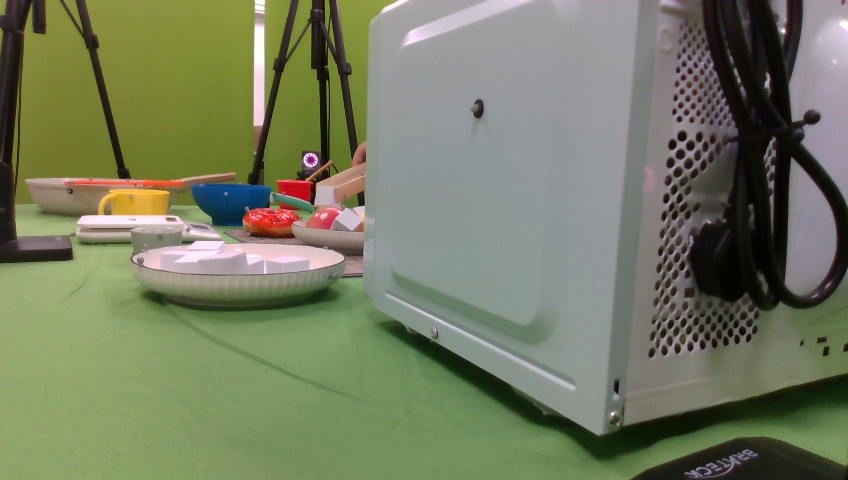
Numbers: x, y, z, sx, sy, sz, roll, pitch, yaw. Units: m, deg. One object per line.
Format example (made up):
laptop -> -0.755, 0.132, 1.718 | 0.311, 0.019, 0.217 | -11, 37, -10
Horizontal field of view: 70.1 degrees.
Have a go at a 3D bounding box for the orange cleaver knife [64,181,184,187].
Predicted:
orange cleaver knife -> -0.596, -0.113, 1.212 | 0.212, 0.012, 0.077 | -3, 7, -41

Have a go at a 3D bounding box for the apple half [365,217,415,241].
apple half -> -0.053, -0.020, 0.966 | 0.081, 0.033, 0.081 | -3, 11, 1

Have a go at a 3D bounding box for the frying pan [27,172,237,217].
frying pan -> -0.624, -0.118, 1.387 | 0.305, 0.102, 0.490 | 8, 17, 32

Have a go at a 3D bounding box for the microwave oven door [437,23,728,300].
microwave oven door -> 0.180, -0.072, 0.621 | 0.358, 0.243, 0.039 | -2, 8, -29

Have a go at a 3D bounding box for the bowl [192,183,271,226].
bowl -> -0.382, -0.071, 1.202 | 0.151, 0.077, 0.151 | 3, 7, 0

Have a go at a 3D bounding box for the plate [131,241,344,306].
plate -> -0.187, 0.033, 0.625 | 0.208, 0.039, 0.207 | 2, 7, 0

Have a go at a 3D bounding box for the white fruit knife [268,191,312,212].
white fruit knife -> -0.364, -0.105, 1.464 | 0.208, 0.027, 0.016 | 15, -1, -34

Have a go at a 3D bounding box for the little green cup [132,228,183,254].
little green cup -> -0.342, 0.006, 0.779 | 0.061, 0.038, 0.061 | 2, 8, 0

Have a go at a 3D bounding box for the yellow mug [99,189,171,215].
yellow mug -> -0.519, -0.055, 1.080 | 0.099, 0.064, 0.131 | 6, 9, 26

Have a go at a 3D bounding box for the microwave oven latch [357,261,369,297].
microwave oven latch -> -0.019, 0.033, 0.531 | 0.079, 0.029, 0.030 | -1, 7, -27

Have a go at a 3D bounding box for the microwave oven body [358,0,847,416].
microwave oven body -> 0.211, -0.047, 0.475 | 0.444, 0.260, 0.324 | -1, 7, -28

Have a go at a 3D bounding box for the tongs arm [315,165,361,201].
tongs arm -> -0.084, -0.139, 1.134 | 0.028, 0.028, 0.389 | -1, 19, 29

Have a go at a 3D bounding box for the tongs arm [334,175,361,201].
tongs arm -> -0.063, -0.138, 1.123 | 0.050, 0.026, 0.386 | 4, 21, 31

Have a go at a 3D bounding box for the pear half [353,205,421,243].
pear half -> -0.051, -0.024, 0.905 | 0.110, 0.056, 0.076 | 1, -2, -38

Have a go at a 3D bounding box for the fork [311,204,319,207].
fork -> -0.356, -0.105, 1.526 | 0.208, 0.018, 0.028 | 16, -5, -41

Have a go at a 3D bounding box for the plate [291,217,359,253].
plate -> -0.103, -0.009, 0.945 | 0.209, 0.038, 0.209 | 2, 7, 0

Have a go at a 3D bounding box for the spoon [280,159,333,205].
spoon -> -0.317, -0.159, 1.640 | 0.194, 0.022, 0.041 | -49, 32, -20

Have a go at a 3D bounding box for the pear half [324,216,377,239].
pear half -> -0.119, -0.023, 0.997 | 0.088, 0.031, 0.070 | -6, 24, -26

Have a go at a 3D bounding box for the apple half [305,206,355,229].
apple half -> -0.138, -0.025, 0.917 | 0.081, 0.053, 0.074 | -1, 10, -43

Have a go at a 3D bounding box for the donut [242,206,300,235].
donut -> -0.262, -0.032, 1.039 | 0.099, 0.048, 0.099 | 4, 10, 0

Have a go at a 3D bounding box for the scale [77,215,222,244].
scale -> -0.434, -0.019, 0.963 | 0.202, 0.031, 0.148 | -1, 9, -27
